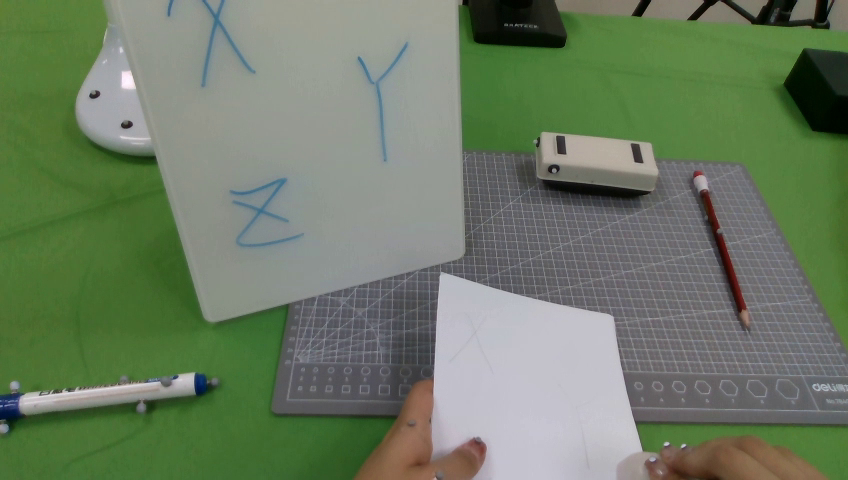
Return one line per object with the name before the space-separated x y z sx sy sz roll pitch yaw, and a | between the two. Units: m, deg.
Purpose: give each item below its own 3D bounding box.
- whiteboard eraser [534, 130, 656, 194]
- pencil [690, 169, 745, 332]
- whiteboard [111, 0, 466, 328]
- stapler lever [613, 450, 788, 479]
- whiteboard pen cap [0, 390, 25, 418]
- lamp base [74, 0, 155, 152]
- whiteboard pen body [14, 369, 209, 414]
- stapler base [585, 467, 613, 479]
whiteboard eraser | 0.165 -0.075 0.593 0.113 0.042 0.055 7 48 0
pencil | 0.270 0.002 0.558 0.012 0.012 0.192 6 49 0
whiteboard | -0.097 -0.121 0.469 0.218 0.308 0.142 -14 31 -17
stapler lever | 0.175 0.152 0.372 0.118 0.040 0.026 6 49 -2
whiteboard pen cap | -0.280 0.108 0.396 0.033 0.018 0.018 -6 49 -10
lamp base | -0.273 -0.201 0.568 0.178 0.182 0.160 33 53 25
whiteboard pen body | -0.220 0.104 0.409 0.141 0.017 0.017 -5 48 -10
stapler base | 0.171 0.168 0.390 0.131 0.024 0.041 7 49 -2
